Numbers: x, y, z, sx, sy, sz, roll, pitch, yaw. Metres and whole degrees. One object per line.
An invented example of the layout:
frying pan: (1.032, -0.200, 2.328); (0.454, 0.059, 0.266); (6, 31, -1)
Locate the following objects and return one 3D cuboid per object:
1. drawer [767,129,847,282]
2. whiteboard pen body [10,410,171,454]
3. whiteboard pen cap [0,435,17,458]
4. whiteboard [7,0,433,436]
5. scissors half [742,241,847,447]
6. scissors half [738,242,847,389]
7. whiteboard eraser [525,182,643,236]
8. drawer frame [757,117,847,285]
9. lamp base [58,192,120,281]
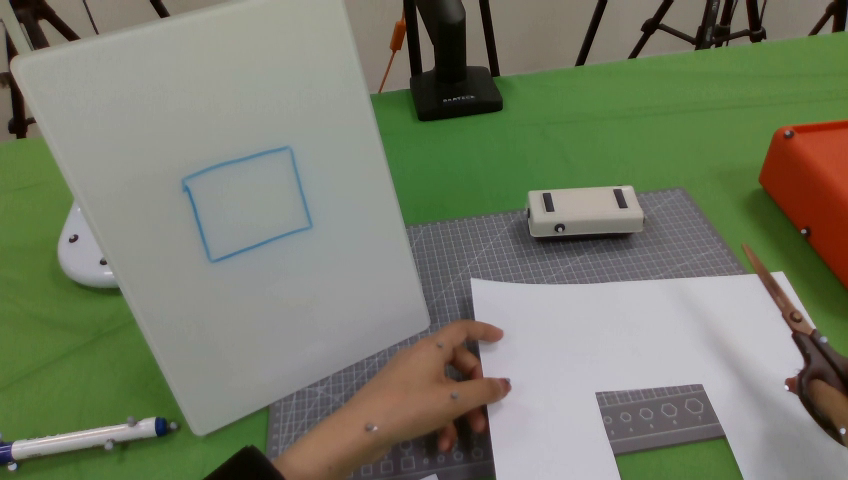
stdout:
drawer: (0.473, -0.030, 0.571); (0.194, 0.074, 0.209); (-7, 41, 0)
whiteboard pen body: (-0.277, 0.155, 0.484); (0.141, 0.017, 0.017); (-8, 42, -8)
whiteboard pen cap: (-0.335, 0.163, 0.476); (0.033, 0.018, 0.018); (-6, 41, -11)
whiteboard: (-0.148, -0.036, 0.515); (0.217, 0.308, 0.142); (-23, 26, -17)
scissors half: (0.276, 0.069, 0.456); (0.040, 0.013, 0.173); (-3, 52, -2)
scissors half: (0.296, 0.066, 0.459); (0.040, 0.013, 0.173); (-16, 54, -18)
whiteboard eraser: (0.164, -0.031, 0.628); (0.112, 0.042, 0.055); (-3, 41, 2)
drawer frame: (0.472, -0.035, 0.576); (0.202, 0.083, 0.211); (-8, 41, -1)
lamp base: (-0.334, -0.074, 0.625); (0.178, 0.182, 0.160); (20, 48, 29)
